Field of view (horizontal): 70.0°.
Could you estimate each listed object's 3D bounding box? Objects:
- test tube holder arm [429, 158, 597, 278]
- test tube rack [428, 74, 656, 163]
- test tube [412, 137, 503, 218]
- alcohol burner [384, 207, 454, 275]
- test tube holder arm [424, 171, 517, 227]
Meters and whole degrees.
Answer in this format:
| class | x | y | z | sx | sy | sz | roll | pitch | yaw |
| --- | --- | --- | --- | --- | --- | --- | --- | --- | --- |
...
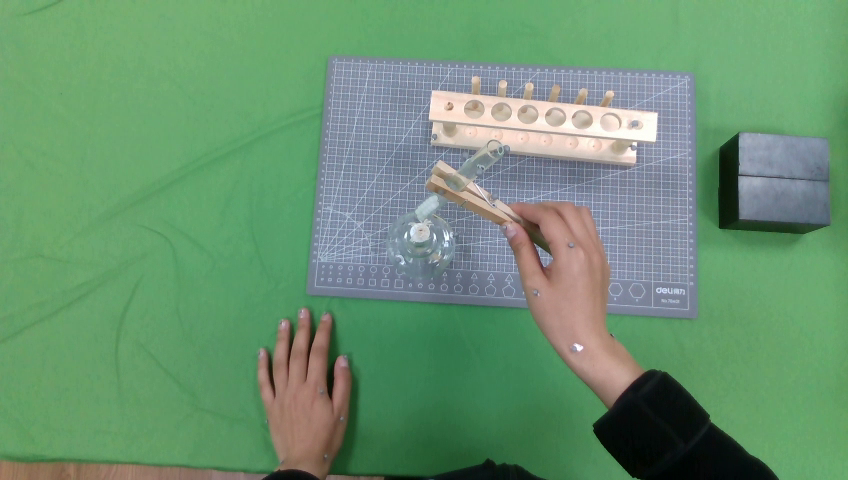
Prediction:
| class | x | y | z | sx | sy | sz | roll | pitch | yaw |
| --- | --- | --- | --- | --- | --- | --- | --- | --- | --- |
| test tube holder arm | 0.081 | -0.017 | 0.529 | 0.179 | 0.015 | 0.013 | 32 | 67 | -13 |
| test tube rack | 0.129 | -0.144 | 0.691 | 0.242 | 0.085 | 0.066 | 6 | 81 | 2 |
| test tube | 0.023 | -0.048 | 0.511 | 0.017 | 0.150 | 0.017 | 8 | 70 | -22 |
| alcohol burner | -0.006 | -0.002 | 0.656 | 0.078 | 0.119 | 0.077 | 0 | 79 | 0 |
| test tube holder arm | 0.041 | -0.034 | 0.516 | 0.088 | 0.015 | 0.010 | 25 | 68 | -16 |
